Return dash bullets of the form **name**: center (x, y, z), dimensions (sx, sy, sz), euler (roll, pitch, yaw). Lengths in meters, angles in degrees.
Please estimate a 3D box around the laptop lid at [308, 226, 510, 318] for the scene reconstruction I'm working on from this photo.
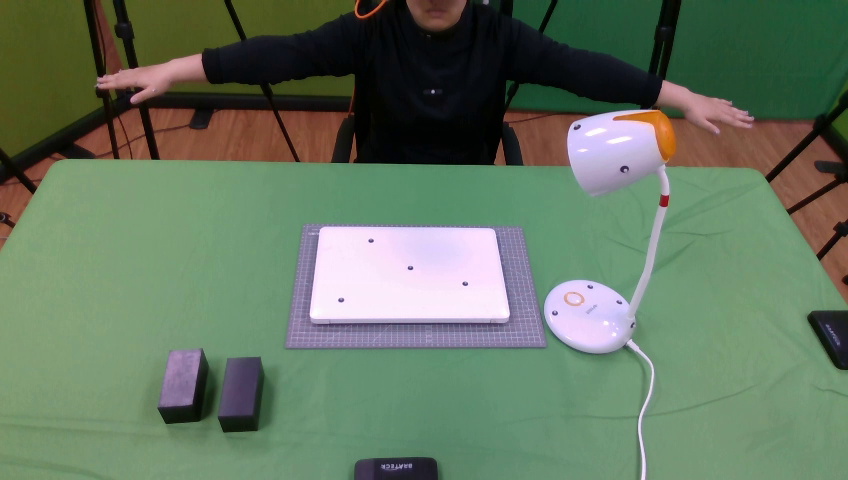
- **laptop lid**: center (-0.028, 0.054, 1.129), dimensions (0.357, 0.013, 0.240), euler (2, 44, -3)

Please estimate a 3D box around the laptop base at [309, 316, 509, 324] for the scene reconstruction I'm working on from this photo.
- **laptop base**: center (-0.028, 0.064, 1.136), dimensions (0.355, 0.023, 0.234), euler (0, 43, -4)

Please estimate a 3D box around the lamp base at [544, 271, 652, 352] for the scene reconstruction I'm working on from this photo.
- **lamp base**: center (0.310, 0.086, 1.029), dimensions (0.178, 0.181, 0.160), euler (32, 52, 21)

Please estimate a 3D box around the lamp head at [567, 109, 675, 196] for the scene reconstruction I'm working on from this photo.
- **lamp head**: center (0.272, -0.123, 0.817), dimensions (0.122, 0.113, 0.112), euler (-9, 35, 37)
